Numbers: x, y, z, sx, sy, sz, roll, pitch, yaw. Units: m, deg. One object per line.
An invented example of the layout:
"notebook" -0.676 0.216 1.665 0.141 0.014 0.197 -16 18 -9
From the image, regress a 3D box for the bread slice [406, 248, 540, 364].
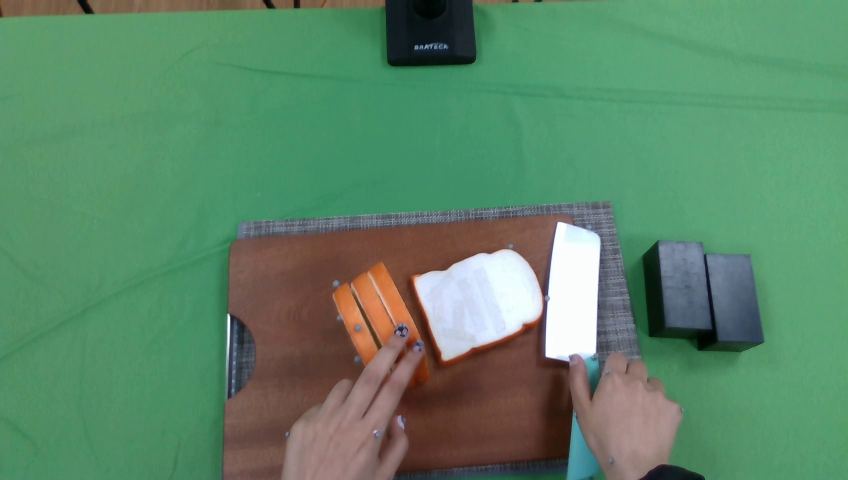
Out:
"bread slice" 0.059 0.066 0.663 0.134 0.018 0.106 -16 74 -4

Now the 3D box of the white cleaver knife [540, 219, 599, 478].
"white cleaver knife" 0.157 0.108 0.659 0.066 0.021 0.284 8 65 -2

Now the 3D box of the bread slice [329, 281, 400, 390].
"bread slice" -0.060 0.093 0.597 0.019 0.132 0.104 -28 71 -5
